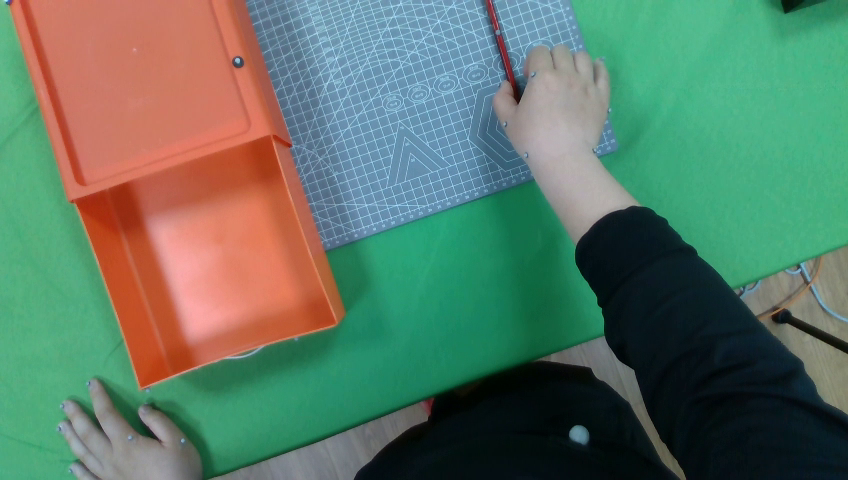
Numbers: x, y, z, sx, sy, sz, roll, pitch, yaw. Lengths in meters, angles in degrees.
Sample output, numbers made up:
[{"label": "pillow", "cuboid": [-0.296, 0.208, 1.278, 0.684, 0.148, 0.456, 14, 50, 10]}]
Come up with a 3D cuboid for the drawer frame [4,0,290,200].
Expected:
[{"label": "drawer frame", "cuboid": [-0.260, -0.164, 0.578, 0.201, 0.083, 0.213, -19, 89, 3]}]

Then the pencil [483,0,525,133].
[{"label": "pencil", "cuboid": [0.074, -0.201, 0.607, 0.012, 0.012, 0.194, -16, 93, 2]}]

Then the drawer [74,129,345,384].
[{"label": "drawer", "cuboid": [-0.203, 0.007, 0.585, 0.194, 0.073, 0.212, -18, 93, 2]}]
